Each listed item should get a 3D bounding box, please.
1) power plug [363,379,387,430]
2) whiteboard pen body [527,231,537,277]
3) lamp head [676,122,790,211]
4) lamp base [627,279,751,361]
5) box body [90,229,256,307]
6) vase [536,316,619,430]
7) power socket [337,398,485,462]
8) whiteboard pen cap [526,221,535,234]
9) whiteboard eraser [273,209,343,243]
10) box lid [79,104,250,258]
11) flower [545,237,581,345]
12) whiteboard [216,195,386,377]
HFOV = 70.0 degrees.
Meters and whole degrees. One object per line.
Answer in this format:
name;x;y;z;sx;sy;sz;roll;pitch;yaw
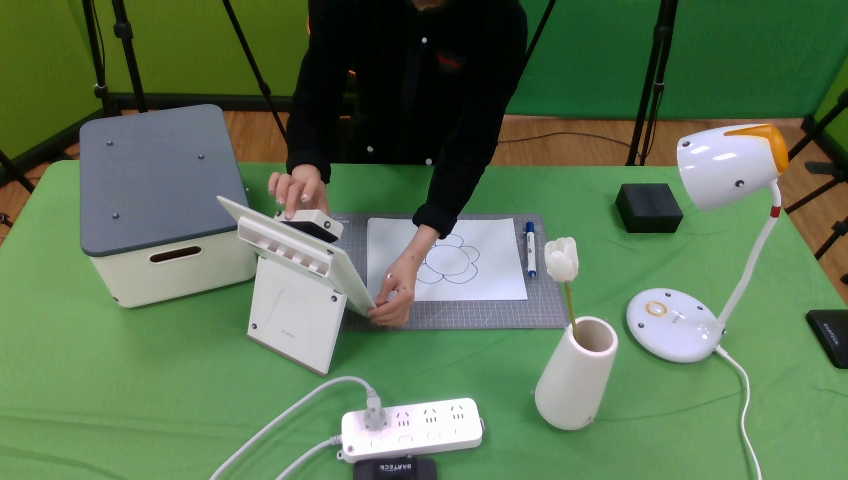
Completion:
power plug;-0.071;0.252;0.911;0.035;0.053;0.072;3;40;0
whiteboard pen body;0.211;0.018;1.191;0.017;0.017;0.140;6;44;2
lamp head;0.423;-0.104;0.819;0.122;0.113;0.112;-13;33;40
lamp base;0.460;0.100;1.027;0.178;0.181;0.160;27;51;17
box body;-0.471;-0.070;1.131;0.254;0.161;0.361;-14;49;-17
vase;0.229;0.200;0.901;0.098;0.201;0.097;3;46;-3
power socket;-0.018;0.285;0.914;0.227;0.033;0.071;-4;46;-8
whiteboard pen cap;0.216;-0.022;1.233;0.018;0.018;0.033;6;45;2
whiteboard eraser;-0.171;-0.018;0.872;0.112;0.056;0.041;3;68;47
box lid;-0.467;-0.120;1.075;0.264;0.015;0.369;-13;49;-17
flower;0.213;0.137;0.846;0.038;0.364;0.044;22;55;40
whiteboard;-0.212;0.093;0.939;0.216;0.307;0.143;24;70;17
